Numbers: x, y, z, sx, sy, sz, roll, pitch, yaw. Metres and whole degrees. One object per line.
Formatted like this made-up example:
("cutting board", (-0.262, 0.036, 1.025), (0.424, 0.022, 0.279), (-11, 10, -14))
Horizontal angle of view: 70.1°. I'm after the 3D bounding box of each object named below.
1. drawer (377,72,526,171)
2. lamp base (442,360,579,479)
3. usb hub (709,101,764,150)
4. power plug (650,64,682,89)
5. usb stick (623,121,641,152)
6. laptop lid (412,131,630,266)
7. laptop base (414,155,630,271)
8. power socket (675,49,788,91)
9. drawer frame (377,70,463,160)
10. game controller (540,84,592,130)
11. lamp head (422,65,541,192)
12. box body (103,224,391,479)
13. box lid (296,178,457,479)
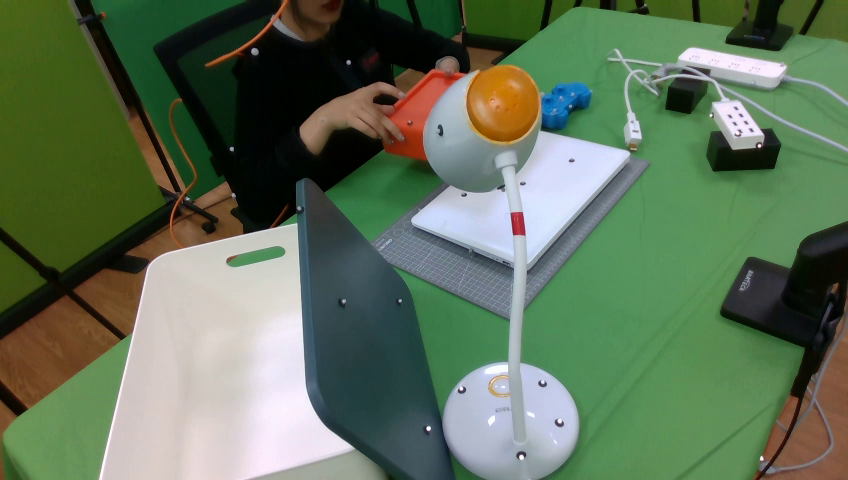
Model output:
("drawer", (0.055, -0.226, 1.124), (0.210, 0.073, 0.195), (17, 49, 30))
("lamp base", (0.094, 0.158, 0.657), (0.161, 0.181, 0.178), (-13, 42, -5))
("usb hub", (0.534, -0.199, 1.040), (0.049, 0.025, 0.124), (-5, 39, 8))
("power plug", (0.498, -0.341, 1.263), (0.035, 0.052, 0.072), (20, 10, -7))
("usb stick", (0.389, -0.191, 1.128), (0.021, 0.027, 0.059), (8, 62, -9))
("laptop lid", (0.172, -0.094, 1.050), (0.239, 0.013, 0.358), (23, 49, 36))
("laptop base", (0.176, -0.085, 1.056), (0.233, 0.023, 0.355), (21, 48, 35))
("power socket", (0.647, -0.363, 1.284), (0.225, 0.033, 0.072), (26, 53, 35))
("drawer frame", (0.059, -0.227, 1.124), (0.212, 0.083, 0.202), (17, 49, 29))
("game controller", (0.277, -0.282, 1.251), (0.096, 0.052, 0.155), (27, 52, 31))
("lamp head", (0.060, -0.106, 0.560), (0.113, 0.112, 0.122), (-17, 0, -8))
("box body", (-0.190, 0.161, 0.723), (0.255, 0.161, 0.361), (-13, 40, -5))
("box lid", (-0.060, 0.103, 0.702), (0.015, 0.265, 0.369), (-30, 39, 11))
